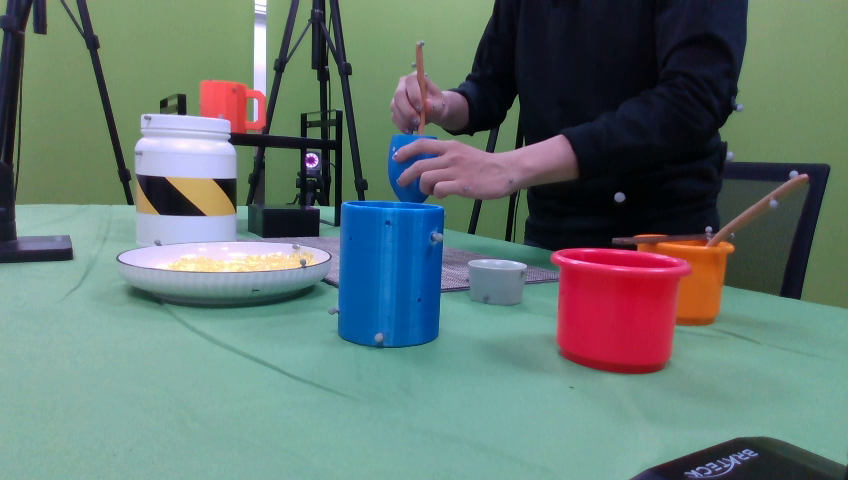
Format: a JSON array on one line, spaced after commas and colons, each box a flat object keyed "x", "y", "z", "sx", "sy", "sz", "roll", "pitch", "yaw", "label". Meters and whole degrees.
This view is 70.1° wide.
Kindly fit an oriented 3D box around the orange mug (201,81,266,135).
[{"x": -0.376, "y": -0.260, "z": 1.198, "sx": 0.126, "sy": 0.101, "sz": 0.083, "roll": -3, "pitch": 8, "yaw": -6, "label": "orange mug"}]

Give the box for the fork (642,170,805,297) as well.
[{"x": 0.261, "y": 0.004, "z": 0.545, "sx": 0.028, "sy": 0.018, "sz": 0.207, "roll": 5, "pitch": -37, "yaw": -15, "label": "fork"}]

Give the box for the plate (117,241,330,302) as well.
[{"x": -0.203, "y": 0.031, "z": 0.630, "sx": 0.209, "sy": 0.038, "sz": 0.209, "roll": 3, "pitch": 7, "yaw": 0, "label": "plate"}]

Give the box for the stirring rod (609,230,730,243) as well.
[{"x": 0.241, "y": -0.004, "z": 0.582, "sx": 0.177, "sy": 0.006, "sz": 0.014, "roll": -4, "pitch": 9, "yaw": -33, "label": "stirring rod"}]

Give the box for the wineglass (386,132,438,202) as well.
[{"x": -0.018, "y": -0.061, "z": 0.842, "sx": 0.074, "sy": 0.172, "sz": 0.073, "roll": 2, "pitch": 7, "yaw": 0, "label": "wineglass"}]

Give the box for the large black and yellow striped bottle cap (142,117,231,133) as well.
[{"x": -0.328, "y": -0.159, "z": 0.839, "sx": 0.115, "sy": 0.019, "sz": 0.115, "roll": 1, "pitch": 9, "yaw": 0, "label": "large black and yellow striped bottle cap"}]

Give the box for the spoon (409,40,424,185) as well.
[{"x": -0.008, "y": -0.172, "z": 0.827, "sx": 0.022, "sy": 0.193, "sz": 0.041, "roll": 0, "pitch": 10, "yaw": -15, "label": "spoon"}]

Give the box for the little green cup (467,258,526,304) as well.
[{"x": 0.074, "y": 0.042, "z": 0.625, "sx": 0.061, "sy": 0.038, "sz": 0.061, "roll": 3, "pitch": 8, "yaw": 0, "label": "little green cup"}]

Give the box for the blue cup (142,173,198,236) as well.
[{"x": -0.425, "y": -0.060, "z": 1.014, "sx": 0.093, "sy": 0.100, "sz": 0.092, "roll": 4, "pitch": 9, "yaw": 0, "label": "blue cup"}]

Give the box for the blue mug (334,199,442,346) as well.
[{"x": -0.034, "y": 0.020, "z": 0.498, "sx": 0.083, "sy": 0.106, "sz": 0.116, "roll": 0, "pitch": 7, "yaw": -20, "label": "blue mug"}]

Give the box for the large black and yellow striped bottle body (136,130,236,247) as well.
[{"x": -0.332, "y": -0.076, "z": 0.851, "sx": 0.131, "sy": 0.184, "sz": 0.130, "roll": 3, "pitch": 8, "yaw": 0, "label": "large black and yellow striped bottle body"}]
